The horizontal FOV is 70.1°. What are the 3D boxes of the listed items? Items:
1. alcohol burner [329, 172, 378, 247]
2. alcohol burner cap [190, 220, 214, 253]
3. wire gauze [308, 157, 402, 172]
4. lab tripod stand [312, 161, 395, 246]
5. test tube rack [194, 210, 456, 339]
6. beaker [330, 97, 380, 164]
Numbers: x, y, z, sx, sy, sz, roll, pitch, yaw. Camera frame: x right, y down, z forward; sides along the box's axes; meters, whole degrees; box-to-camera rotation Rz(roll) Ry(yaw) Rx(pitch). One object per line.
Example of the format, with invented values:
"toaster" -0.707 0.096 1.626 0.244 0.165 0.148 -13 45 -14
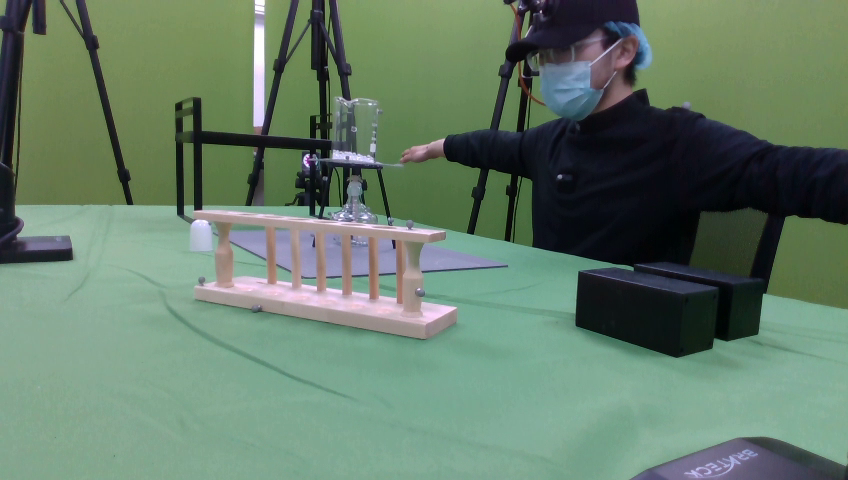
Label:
"alcohol burner" -0.113 -0.049 0.972 0.078 0.119 0.078 1 9 0
"alcohol burner cap" -0.321 -0.006 0.875 0.034 0.048 0.034 4 8 0
"wire gauze" -0.111 -0.122 0.956 0.125 0.011 0.121 4 8 -22
"lab tripod stand" -0.110 -0.058 0.970 0.148 0.131 0.148 4 6 0
"test tube rack" -0.093 0.023 0.545 0.241 0.085 0.067 6 8 25
"beaker" -0.111 -0.171 0.953 0.074 0.100 0.084 5 8 7
